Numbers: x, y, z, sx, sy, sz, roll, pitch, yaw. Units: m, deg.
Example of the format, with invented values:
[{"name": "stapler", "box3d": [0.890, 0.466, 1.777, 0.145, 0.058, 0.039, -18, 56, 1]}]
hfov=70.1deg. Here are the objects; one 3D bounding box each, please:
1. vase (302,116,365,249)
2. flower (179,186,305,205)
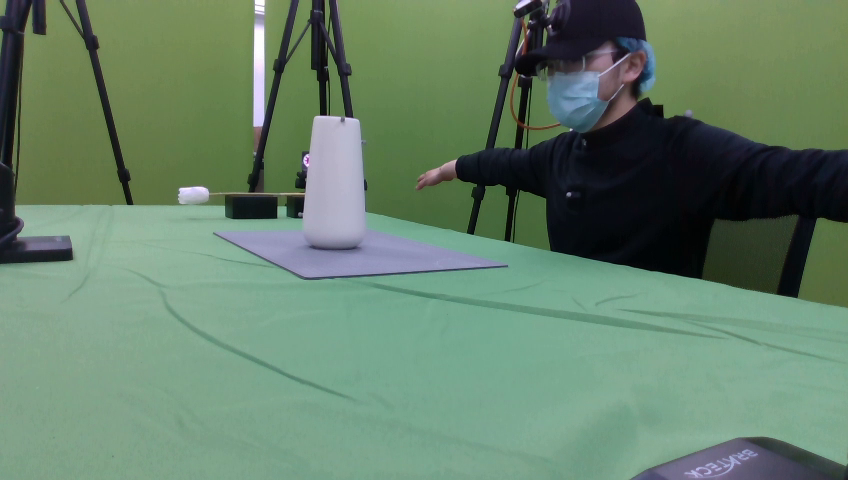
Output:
[{"name": "vase", "box3d": [-0.139, -0.088, 0.930, 0.098, 0.200, 0.098, 1, 9, 0]}, {"name": "flower", "box3d": [-0.361, -0.110, 1.365, 0.364, 0.038, 0.044, -7, -6, -33]}]
